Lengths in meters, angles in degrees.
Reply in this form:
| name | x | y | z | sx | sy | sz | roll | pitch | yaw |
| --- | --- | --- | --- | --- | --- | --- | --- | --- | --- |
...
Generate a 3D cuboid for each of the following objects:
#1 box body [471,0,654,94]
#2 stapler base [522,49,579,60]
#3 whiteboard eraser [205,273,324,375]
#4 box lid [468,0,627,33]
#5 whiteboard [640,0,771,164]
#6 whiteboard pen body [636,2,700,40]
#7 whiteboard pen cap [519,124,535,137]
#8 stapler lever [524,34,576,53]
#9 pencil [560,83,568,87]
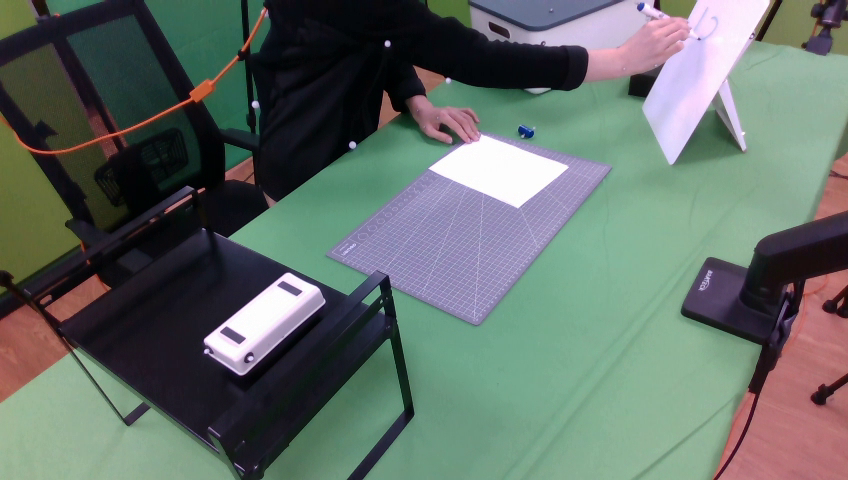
| name | x | y | z | sx | sy | sz | roll | pitch | yaw |
| --- | --- | --- | --- | --- | --- | --- | --- | --- | --- |
| box body | 0.319 | -0.498 | 1.405 | 0.365 | 0.161 | 0.252 | -26 | 43 | -21 |
| stapler base | 0.300 | -0.441 | 1.433 | 0.130 | 0.024 | 0.041 | 3 | 22 | 18 |
| whiteboard eraser | -0.157 | 0.084 | 0.605 | 0.055 | 0.042 | 0.113 | 24 | 49 | 30 |
| box lid | 0.312 | -0.554 | 1.358 | 0.373 | 0.015 | 0.261 | -26 | 44 | -20 |
| whiteboard | 0.543 | -0.299 | 1.076 | 0.144 | 0.305 | 0.216 | 12 | 40 | -7 |
| whiteboard pen body | 0.424 | -0.373 | 1.041 | 0.142 | 0.017 | 0.017 | 18 | 36 | -20 |
| whiteboard pen cap | 0.206 | -0.218 | 1.205 | 0.018 | 0.018 | 0.033 | -28 | 45 | -23 |
| stapler lever | 0.297 | -0.462 | 1.424 | 0.117 | 0.040 | 0.027 | 5 | 23 | 17 |
| pencil | 0.248 | -0.393 | 1.398 | 0.193 | 0.012 | 0.012 | 32 | 53 | 24 |
